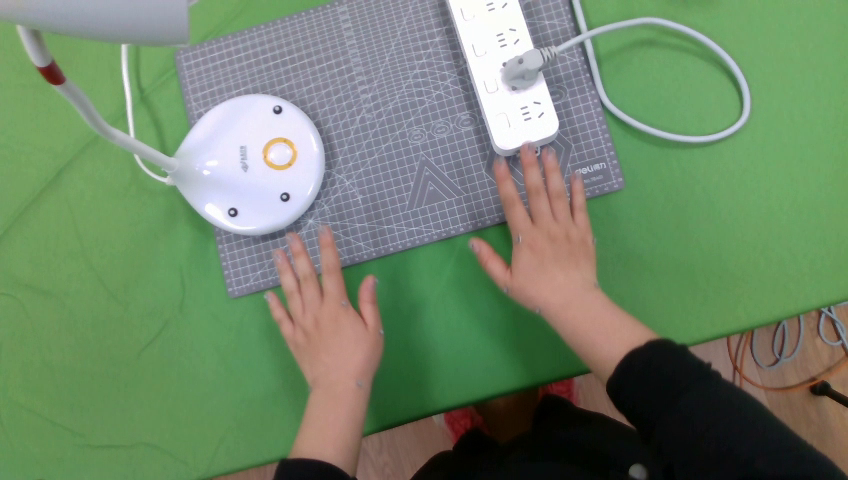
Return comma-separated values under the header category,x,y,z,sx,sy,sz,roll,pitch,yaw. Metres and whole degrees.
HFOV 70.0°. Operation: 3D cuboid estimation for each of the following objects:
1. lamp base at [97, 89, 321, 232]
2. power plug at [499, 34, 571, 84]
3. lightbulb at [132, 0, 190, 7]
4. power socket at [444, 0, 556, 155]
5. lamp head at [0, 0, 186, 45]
category,x,y,z,sx,sy,sz,roll,pitch,yaw
lamp base,-0.213,-0.092,0.599,0.179,0.181,0.160,-20,83,7
power plug,0.115,-0.183,0.628,0.072,0.053,0.035,-7,86,3
lightbulb,-0.163,-0.152,0.306,0.108,0.059,0.059,-3,84,-22
power socket,0.078,-0.203,0.652,0.072,0.033,0.226,-18,83,3
lamp head,-0.188,-0.151,0.303,0.123,0.112,0.112,-11,83,-17
